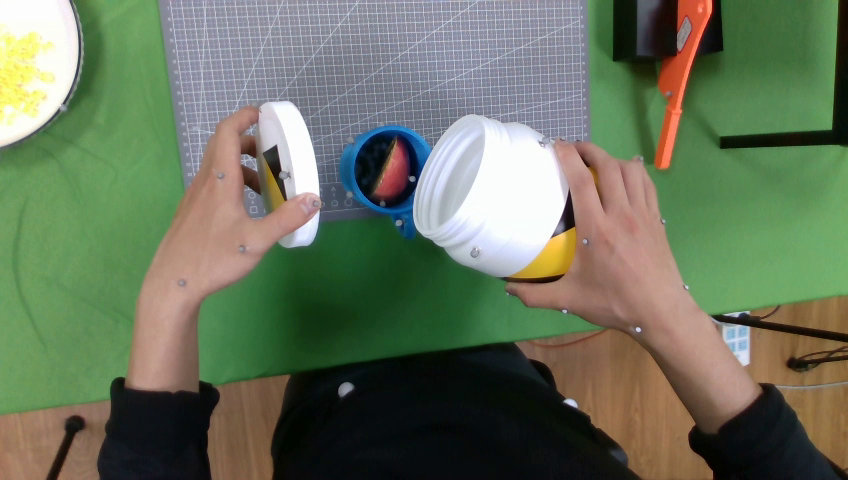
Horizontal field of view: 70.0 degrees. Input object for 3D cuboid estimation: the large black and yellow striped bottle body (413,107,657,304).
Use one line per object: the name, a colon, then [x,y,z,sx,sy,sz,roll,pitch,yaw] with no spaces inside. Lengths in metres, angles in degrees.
large black and yellow striped bottle body: [0.095,-0.029,0.534,0.185,0.129,0.131,22,93,-24]

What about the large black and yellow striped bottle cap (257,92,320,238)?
large black and yellow striped bottle cap: [-0.110,-0.058,0.481,0.019,0.114,0.115,-12,102,-25]

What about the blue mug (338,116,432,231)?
blue mug: [-0.035,-0.064,0.610,0.082,0.105,0.117,-22,103,-10]

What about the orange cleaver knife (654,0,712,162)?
orange cleaver knife: [0.282,-0.192,0.683,0.012,0.076,0.213,-4,126,-5]

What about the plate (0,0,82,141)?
plate: [-0.413,-0.188,0.532,0.210,0.038,0.209,-2,100,-13]
